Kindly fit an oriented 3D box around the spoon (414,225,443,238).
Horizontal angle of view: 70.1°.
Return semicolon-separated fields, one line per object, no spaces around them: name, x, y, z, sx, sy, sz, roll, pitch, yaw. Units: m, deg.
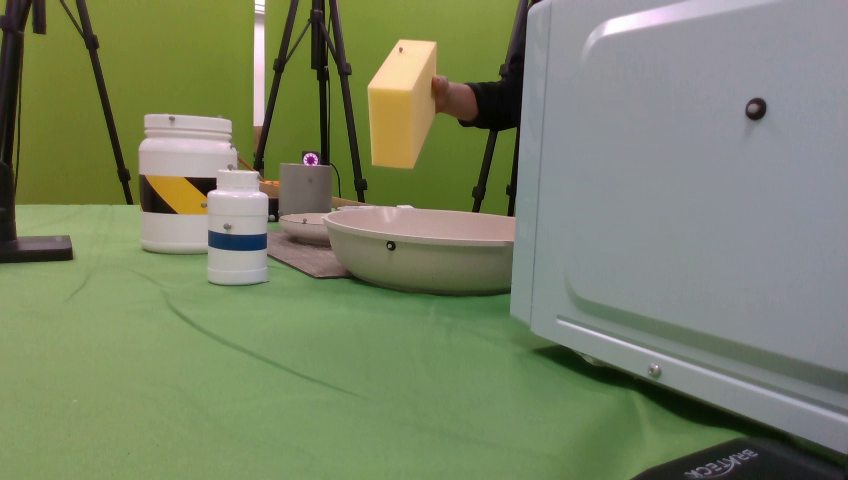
spoon;0.016;-0.020;1.113;0.041;0.021;0.194;-14;3;12

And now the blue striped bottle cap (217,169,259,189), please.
blue striped bottle cap;-0.202;-0.067;0.656;0.044;0.020;0.044;0;10;0

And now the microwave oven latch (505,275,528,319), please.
microwave oven latch;0.100;0.042;0.472;0.079;0.029;0.030;-2;8;-30

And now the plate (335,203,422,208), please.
plate;-0.089;-0.053;1.309;0.208;0.039;0.207;2;8;0

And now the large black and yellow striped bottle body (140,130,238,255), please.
large black and yellow striped bottle body;-0.336;-0.078;0.871;0.131;0.184;0.130;2;8;0

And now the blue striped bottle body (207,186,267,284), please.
blue striped bottle body;-0.204;-0.016;0.663;0.063;0.120;0.063;2;7;0

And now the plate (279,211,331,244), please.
plate;-0.139;-0.022;1.021;0.209;0.038;0.209;2;8;0

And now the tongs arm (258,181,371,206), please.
tongs arm;-0.241;-0.095;1.373;0.387;0.026;0.050;9;0;-37

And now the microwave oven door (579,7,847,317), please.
microwave oven door;0.294;-0.067;0.570;0.358;0.243;0.039;-3;9;-31

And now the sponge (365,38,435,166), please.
sponge;-0.028;-0.210;0.895;0.061;0.118;0.207;6;35;9

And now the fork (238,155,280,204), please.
fork;-0.396;-0.143;1.486;0.028;0.018;0.208;20;-26;45

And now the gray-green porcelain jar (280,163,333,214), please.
gray-green porcelain jar;-0.238;-0.092;1.221;0.106;0.126;0.106;2;7;0

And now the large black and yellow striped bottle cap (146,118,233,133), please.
large black and yellow striped bottle cap;-0.333;-0.163;0.861;0.115;0.019;0.115;1;9;0

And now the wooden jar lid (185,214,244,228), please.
wooden jar lid;-0.404;-0.037;1.169;0.108;0.020;0.108;3;7;0

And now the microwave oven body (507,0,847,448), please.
microwave oven body;0.331;-0.042;0.425;0.444;0.260;0.324;-2;8;-31

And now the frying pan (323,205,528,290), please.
frying pan;0.110;-0.017;0.800;0.490;0.102;0.305;-12;16;-31

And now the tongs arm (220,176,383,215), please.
tongs arm;-0.284;-0.105;1.445;0.389;0.027;0.028;10;-3;-23
